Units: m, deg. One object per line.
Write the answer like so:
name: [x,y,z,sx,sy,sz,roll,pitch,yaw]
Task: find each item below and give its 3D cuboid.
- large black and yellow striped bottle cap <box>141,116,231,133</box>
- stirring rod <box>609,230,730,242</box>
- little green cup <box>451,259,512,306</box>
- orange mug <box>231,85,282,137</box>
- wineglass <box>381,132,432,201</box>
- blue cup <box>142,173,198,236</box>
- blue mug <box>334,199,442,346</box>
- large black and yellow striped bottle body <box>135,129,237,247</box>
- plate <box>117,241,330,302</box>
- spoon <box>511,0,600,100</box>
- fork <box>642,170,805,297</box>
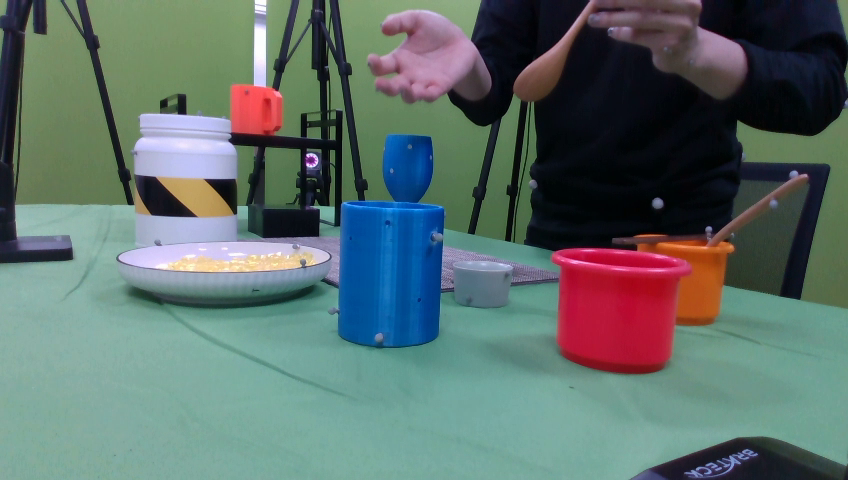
large black and yellow striped bottle cap: [-0.324,-0.157,0.826,0.115,0.019,0.115,1,7,0]
stirring rod: [0.241,-0.004,0.582,0.177,0.006,0.014,-3,9,-33]
little green cup: [0.057,0.043,0.612,0.061,0.038,0.061,3,8,0]
orange mug: [-0.335,-0.261,1.225,0.125,0.100,0.084,2,6,35]
wineglass: [-0.026,-0.062,0.841,0.074,0.172,0.073,2,7,0]
blue cup: [-0.425,-0.060,1.014,0.093,0.100,0.092,4,9,0]
blue mug: [-0.034,0.020,0.498,0.083,0.106,0.116,0,7,-19]
large black and yellow striped bottle body: [-0.327,-0.074,0.838,0.131,0.184,0.130,2,7,0]
plate: [-0.203,0.031,0.630,0.209,0.038,0.209,3,7,0]
spoon: [0.157,-0.223,0.616,0.042,0.193,0.021,28,21,-25]
fork: [0.261,0.003,0.545,0.028,0.018,0.207,5,-37,-15]
